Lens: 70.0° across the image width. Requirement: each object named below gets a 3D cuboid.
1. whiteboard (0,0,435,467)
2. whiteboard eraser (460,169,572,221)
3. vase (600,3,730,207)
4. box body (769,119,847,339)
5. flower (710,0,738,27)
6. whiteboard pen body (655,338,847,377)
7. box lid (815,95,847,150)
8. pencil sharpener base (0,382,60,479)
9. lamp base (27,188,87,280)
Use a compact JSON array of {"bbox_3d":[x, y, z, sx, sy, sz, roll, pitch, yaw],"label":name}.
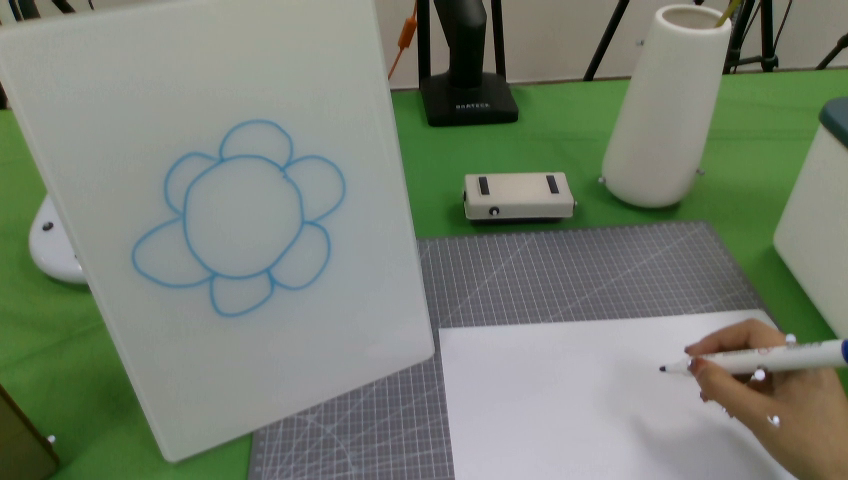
[{"bbox_3d":[-0.137,-0.027,0.464,0.218,0.308,0.142,-18,26,-19],"label":"whiteboard"},{"bbox_3d":[0.096,-0.046,0.642,0.113,0.042,0.055,-3,40,-3],"label":"whiteboard eraser"},{"bbox_3d":[0.247,-0.131,0.622,0.098,0.202,0.097,1,42,-1],"label":"vase"},{"bbox_3d":[0.475,0.049,0.454,0.254,0.162,0.360,-3,42,-4],"label":"box body"},{"bbox_3d":[0.259,-0.183,0.556,0.044,0.363,0.038,-22,64,-32],"label":"flower"},{"bbox_3d":[0.211,0.080,0.402,0.017,0.140,0.017,10,71,-29],"label":"whiteboard pen body"},{"bbox_3d":[0.474,-0.005,0.402,0.263,0.015,0.367,-3,42,-4],"label":"box lid"},{"bbox_3d":[-0.307,0.121,0.402,0.076,0.108,0.061,30,50,29],"label":"pencil sharpener base"},{"bbox_3d":[-0.322,-0.080,0.568,0.178,0.182,0.160,24,47,27],"label":"lamp base"}]
